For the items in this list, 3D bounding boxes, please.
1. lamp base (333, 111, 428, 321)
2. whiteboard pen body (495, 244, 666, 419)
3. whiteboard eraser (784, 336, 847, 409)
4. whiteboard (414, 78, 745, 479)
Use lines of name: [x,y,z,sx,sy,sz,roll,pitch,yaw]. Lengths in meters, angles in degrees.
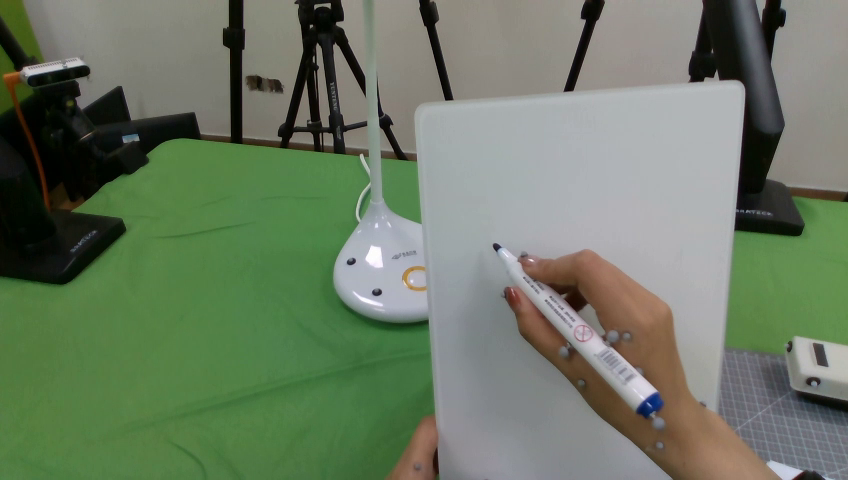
lamp base: [-0.030,-0.034,0.642,0.161,0.182,0.177,-23,39,-27]
whiteboard pen body: [0.082,0.045,0.346,0.017,0.017,0.139,-20,48,-24]
whiteboard eraser: [0.380,0.122,0.528,0.112,0.042,0.055,11,39,17]
whiteboard: [0.105,0.033,0.486,0.217,0.307,0.143,-5,17,-4]
